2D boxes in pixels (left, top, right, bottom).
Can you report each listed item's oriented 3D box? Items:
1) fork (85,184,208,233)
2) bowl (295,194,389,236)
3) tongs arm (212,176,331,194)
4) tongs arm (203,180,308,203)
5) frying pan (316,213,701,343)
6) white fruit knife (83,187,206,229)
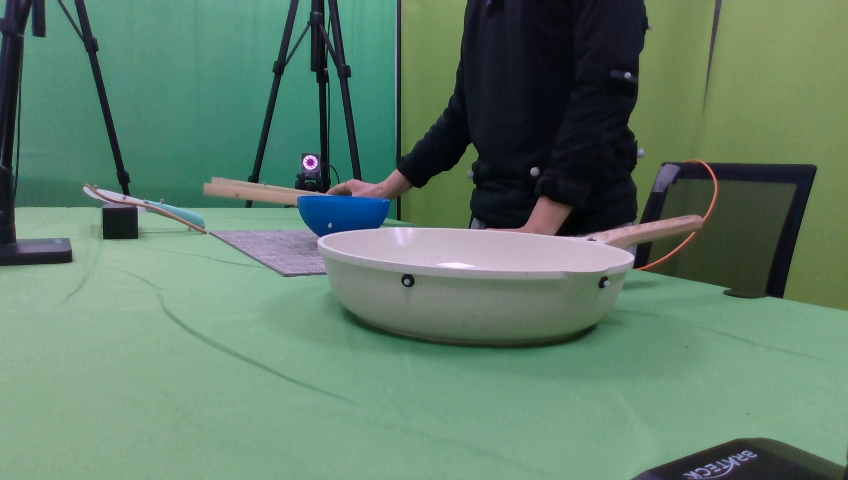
[{"bbox_3d":[-0.462,-0.051,1.019,0.208,0.018,0.028,22,-11,-37],"label":"fork"},{"bbox_3d":[-0.132,-0.032,0.980,0.151,0.077,0.151,2,7,0],"label":"bowl"},{"bbox_3d":[-0.301,-0.108,1.417,0.386,0.026,0.050,8,7,-12],"label":"tongs arm"},{"bbox_3d":[-0.287,-0.096,1.353,0.389,0.028,0.028,6,4,-20],"label":"tongs arm"},{"bbox_3d":[0.133,0.013,0.629,0.490,0.102,0.305,-12,14,-30],"label":"frying pan"},{"bbox_3d":[-0.488,-0.059,1.071,0.208,0.027,0.016,17,5,-33],"label":"white fruit knife"}]
